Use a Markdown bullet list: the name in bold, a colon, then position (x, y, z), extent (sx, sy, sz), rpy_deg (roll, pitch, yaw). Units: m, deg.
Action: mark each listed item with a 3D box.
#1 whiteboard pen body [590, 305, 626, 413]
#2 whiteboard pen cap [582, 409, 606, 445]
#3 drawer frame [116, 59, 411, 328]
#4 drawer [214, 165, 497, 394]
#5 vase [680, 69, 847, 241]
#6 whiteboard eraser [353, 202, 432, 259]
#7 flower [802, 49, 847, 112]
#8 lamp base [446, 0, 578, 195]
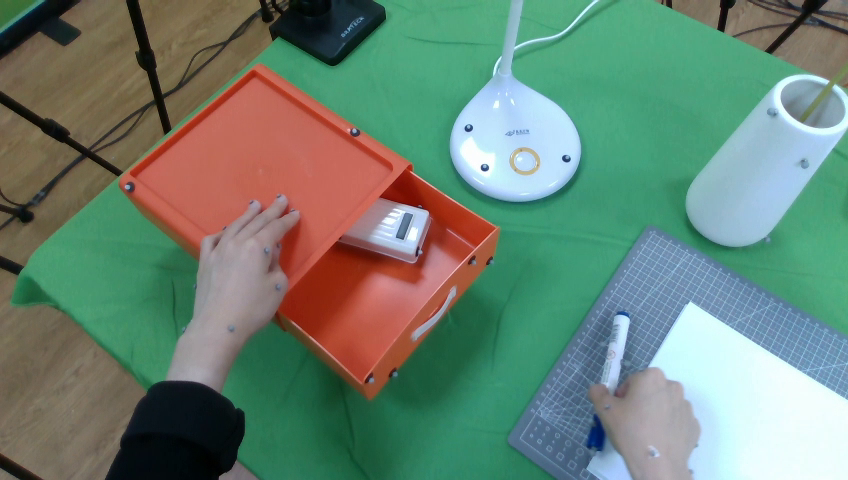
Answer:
- **whiteboard pen body**: position (0.181, 0.126, 0.599), extent (0.017, 0.017, 0.140), rpy_deg (17, 60, 10)
- **whiteboard pen cap**: position (0.161, 0.175, 0.571), extent (0.018, 0.018, 0.033), rpy_deg (18, 61, 10)
- **drawer frame**: position (-0.156, -0.053, 0.623), extent (0.212, 0.083, 0.201), rpy_deg (35, 69, 15)
- **drawer**: position (-0.069, 0.008, 0.593), extent (0.210, 0.074, 0.194), rpy_deg (36, 69, 17)
- **vase**: position (0.338, -0.080, 0.618), extent (0.098, 0.201, 0.097), rpy_deg (-1, 61, 2)
- **whiteboard eraser**: position (-0.045, -0.011, 0.644), extent (0.112, 0.042, 0.055), rpy_deg (5, 68, 37)
- **flower**: position (0.352, -0.128, 0.550), extent (0.038, 0.364, 0.044), rpy_deg (20, 47, 3)
- **lamp base**: position (0.101, -0.169, 0.676), extent (0.161, 0.182, 0.177), rpy_deg (-18, 61, -9)
